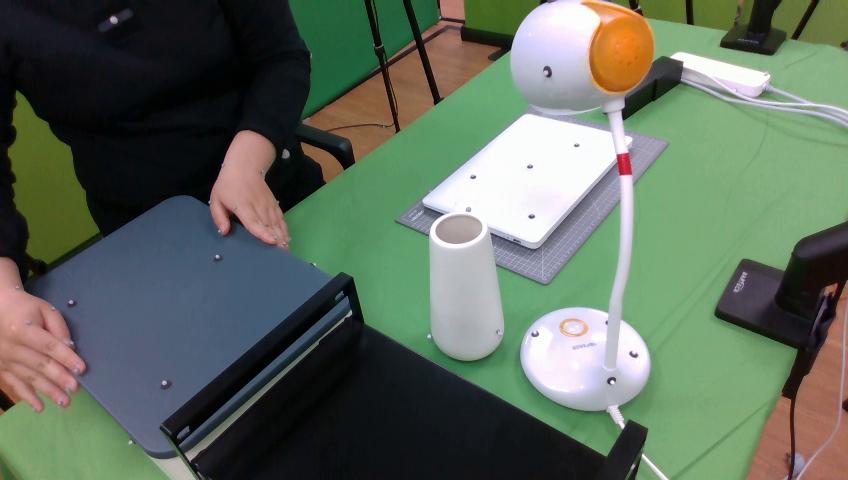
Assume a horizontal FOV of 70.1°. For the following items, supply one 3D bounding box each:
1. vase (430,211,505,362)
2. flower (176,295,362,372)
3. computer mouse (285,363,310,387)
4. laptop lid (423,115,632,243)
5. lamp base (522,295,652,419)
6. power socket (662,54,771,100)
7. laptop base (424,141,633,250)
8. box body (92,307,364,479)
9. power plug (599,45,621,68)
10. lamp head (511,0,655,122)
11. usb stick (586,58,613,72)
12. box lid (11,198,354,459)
[{"bbox_3d":[0.053,0.062,0.758,0.098,0.201,0.097,-3,40,3],"label":"vase"},{"bbox_3d":[-0.232,0.115,0.833,0.359,0.038,0.044,11,86,33],"label":"flower"},{"bbox_3d":[-0.160,0.158,0.791,0.116,0.041,0.063,26,46,23],"label":"computer mouse"},{"bbox_3d":[0.190,-0.126,1.081,0.239,0.013,0.358,23,48,34],"label":"laptop lid"},{"bbox_3d":[0.201,0.095,0.710,0.161,0.181,0.177,-16,43,-10],"label":"lamp base"},{"bbox_3d":[0.615,-0.348,1.284,0.072,0.033,0.225,-36,48,-29],"label":"power socket"},{"bbox_3d":[0.193,-0.116,1.087,0.233,0.023,0.355,21,48,34],"label":"laptop base"},{"bbox_3d":[-0.282,0.128,0.760,0.361,0.161,0.255,24,49,32],"label":"box body"},{"bbox_3d":[0.437,-0.422,1.412,0.053,0.035,0.072,-18,74,-47],"label":"power plug"},{"bbox_3d":[0.155,-0.168,0.564,0.113,0.113,0.122,-18,23,-12],"label":"lamp head"},{"bbox_3d":[0.401,-0.399,1.380,0.059,0.027,0.021,1,48,20],"label":"usb stick"},{"bbox_3d":[-0.288,0.073,0.711,0.368,0.015,0.264,24,50,32],"label":"box lid"}]
